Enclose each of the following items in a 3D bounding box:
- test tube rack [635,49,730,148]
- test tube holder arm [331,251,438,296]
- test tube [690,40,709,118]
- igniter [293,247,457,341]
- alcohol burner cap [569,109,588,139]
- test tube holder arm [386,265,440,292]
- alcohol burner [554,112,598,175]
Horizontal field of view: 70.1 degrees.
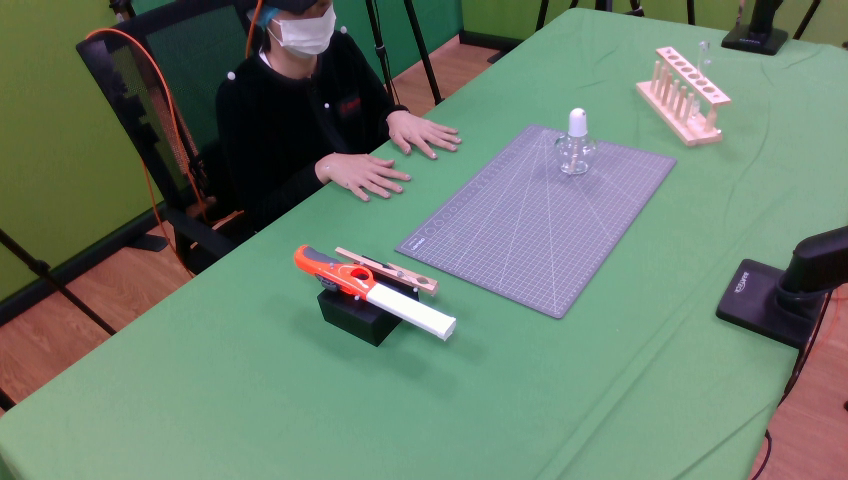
[{"bbox_3d":[0.497,-0.283,1.185,0.067,0.085,0.240,-10,40,-2],"label":"test tube rack"},{"bbox_3d":[-0.060,0.046,0.859,0.177,0.015,0.013,16,45,25],"label":"test tube holder arm"},{"bbox_3d":[0.510,-0.295,1.120,0.017,0.151,0.017,-6,39,6],"label":"test tube"},{"bbox_3d":[-0.077,0.068,0.830,0.274,0.025,0.057,22,48,27],"label":"igniter"},{"bbox_3d":[0.266,-0.203,1.044,0.034,0.048,0.033,-7,36,5],"label":"alcohol burner cap"},{"bbox_3d":[-0.018,0.055,0.843,0.087,0.015,0.010,18,46,26],"label":"test tube holder arm"},{"bbox_3d":[0.270,-0.175,1.066,0.078,0.119,0.077,-4,42,4],"label":"alcohol burner"}]
